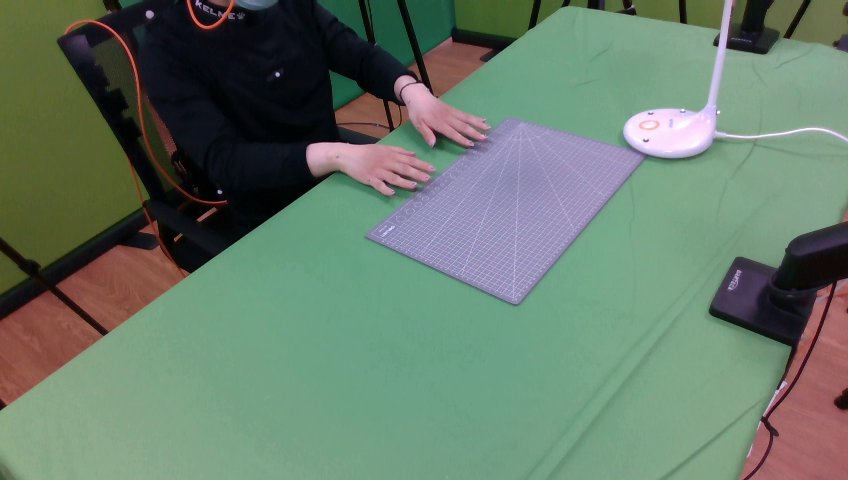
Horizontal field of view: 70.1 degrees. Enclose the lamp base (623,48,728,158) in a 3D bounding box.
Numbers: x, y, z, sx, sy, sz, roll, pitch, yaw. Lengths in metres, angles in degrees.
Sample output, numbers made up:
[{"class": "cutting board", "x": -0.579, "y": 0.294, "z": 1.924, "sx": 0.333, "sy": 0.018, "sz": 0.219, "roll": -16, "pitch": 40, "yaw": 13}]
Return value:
[{"class": "lamp base", "x": 0.462, "y": -0.261, "z": 1.084, "sx": 0.179, "sy": 0.181, "sz": 0.160, "roll": 3, "pitch": 42, "yaw": 7}]
